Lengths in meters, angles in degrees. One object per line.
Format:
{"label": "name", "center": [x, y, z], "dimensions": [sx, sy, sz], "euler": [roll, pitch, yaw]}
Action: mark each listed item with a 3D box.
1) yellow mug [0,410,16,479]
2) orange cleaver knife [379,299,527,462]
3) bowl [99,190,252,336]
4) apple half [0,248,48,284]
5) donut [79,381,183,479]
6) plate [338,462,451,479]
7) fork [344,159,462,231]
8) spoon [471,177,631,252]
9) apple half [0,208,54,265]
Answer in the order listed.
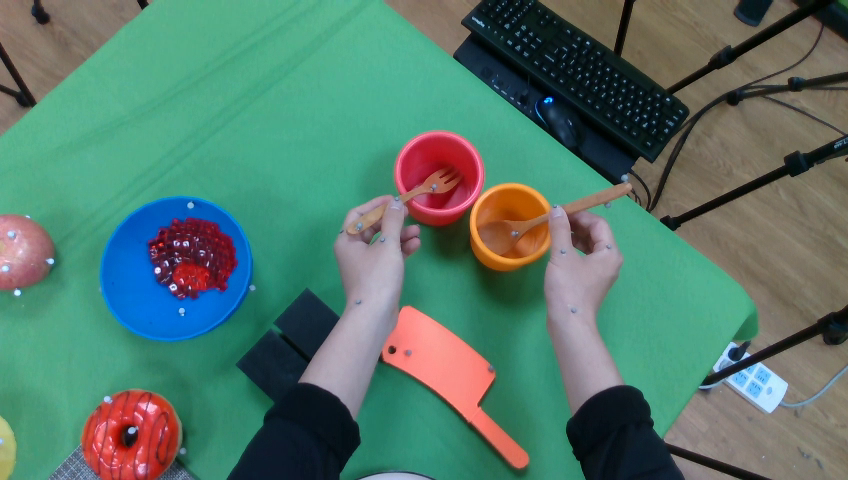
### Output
{"label": "yellow mug", "center": [-0.482, 0.227, 0.600], "dimensions": [0.100, 0.064, 0.130], "euler": [17, 77, 1]}
{"label": "orange cleaver knife", "center": [0.040, 0.151, 0.665], "dimensions": [0.210, 0.012, 0.077], "euler": [41, 72, 8]}
{"label": "bowl", "center": [-0.253, 0.030, 0.649], "dimensions": [0.151, 0.077, 0.150], "euler": [1, 77, -2]}
{"label": "apple half", "center": [-0.443, 0.031, 0.641], "dimensions": [0.081, 0.081, 0.032], "euler": [8, 72, 0]}
{"label": "donut", "center": [-0.300, 0.195, 0.623], "dimensions": [0.099, 0.048, 0.098], "euler": [1, 77, -3]}
{"label": "plate", "center": [-0.030, 0.330, 0.610], "dimensions": [0.209, 0.038, 0.208], "euler": [0, 78, -2]}
{"label": "fork", "center": [-0.017, -0.051, 0.643], "dimensions": [0.028, 0.018, 0.207], "euler": [48, 37, 6]}
{"label": "spoon", "center": [0.127, -0.028, 0.639], "dimensions": [0.022, 0.193, 0.041], "euler": [2, 72, -45]}
{"label": "apple half", "center": [-0.440, -0.005, 0.651], "dimensions": [0.081, 0.075, 0.053], "euler": [7, 71, 3]}
